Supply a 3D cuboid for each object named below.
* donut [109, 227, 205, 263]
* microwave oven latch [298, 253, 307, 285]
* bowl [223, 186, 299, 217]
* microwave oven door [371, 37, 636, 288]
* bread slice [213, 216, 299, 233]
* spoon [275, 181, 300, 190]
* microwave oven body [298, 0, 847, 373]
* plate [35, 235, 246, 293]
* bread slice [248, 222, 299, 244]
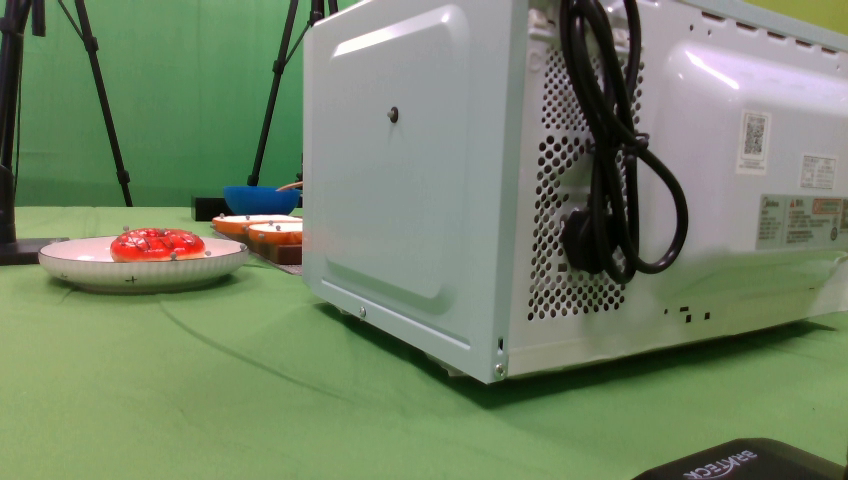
[{"bbox_3d":[-0.298,0.012,0.679,0.099,0.048,0.099,4,10,0],"label":"donut"},{"bbox_3d":[-0.081,0.027,0.582,0.079,0.029,0.030,-1,7,-32],"label":"microwave oven latch"},{"bbox_3d":[-0.330,-0.068,1.230,0.151,0.077,0.151,3,7,0],"label":"bowl"},{"bbox_3d":[0.109,-0.080,0.686,0.358,0.243,0.039,-2,9,-33],"label":"microwave oven door"},{"bbox_3d":[-0.256,-0.026,0.936,0.132,0.019,0.104,-4,8,-40],"label":"bread slice"},{"bbox_3d":[-0.300,-0.101,1.259,0.041,0.021,0.194,4,25,36],"label":"spoon"},{"bbox_3d":[0.151,-0.055,0.543,0.444,0.260,0.324,-1,7,-33],"label":"microwave oven body"},{"bbox_3d":[-0.305,0.026,0.668,0.208,0.039,0.207,2,7,0],"label":"plate"},{"bbox_3d":[-0.174,-0.012,0.844,0.135,0.018,0.106,-6,10,-44],"label":"bread slice"}]
